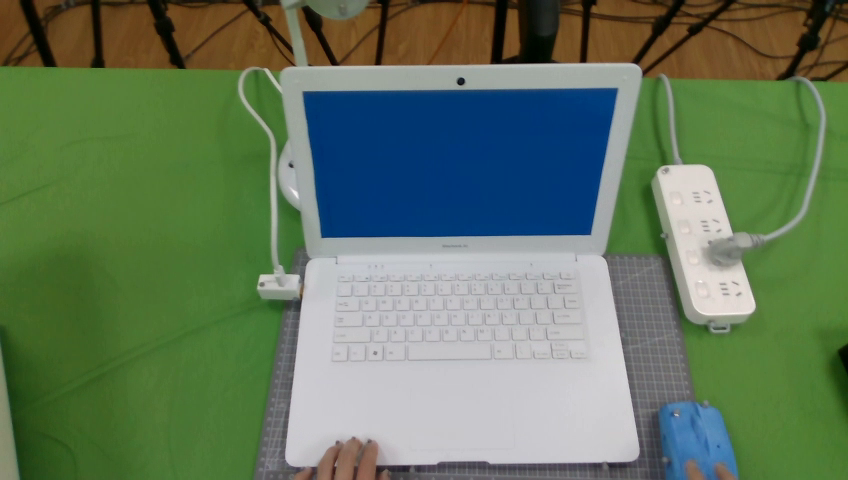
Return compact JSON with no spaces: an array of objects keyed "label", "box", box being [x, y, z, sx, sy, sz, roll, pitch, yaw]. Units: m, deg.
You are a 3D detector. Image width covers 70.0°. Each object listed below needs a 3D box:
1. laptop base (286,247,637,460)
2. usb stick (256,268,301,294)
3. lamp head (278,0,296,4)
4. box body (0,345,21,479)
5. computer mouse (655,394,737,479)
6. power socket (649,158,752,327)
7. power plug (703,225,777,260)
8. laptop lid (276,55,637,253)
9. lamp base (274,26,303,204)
[{"label":"laptop base","box":[0.037,0.116,0.661,0.354,0.023,0.233,-1,63,0]},{"label":"usb stick","box":[-0.158,0.047,0.686,0.059,0.027,0.021,3,54,0]},{"label":"lamp head","box":[-0.083,-0.255,0.462,0.112,0.111,0.123,-27,106,-14]},{"label":"box body","box":[-0.520,0.211,0.523,0.254,0.161,0.360,-23,62,-13]},{"label":"computer mouse","box":[0.266,0.206,0.593,0.063,0.041,0.116,3,56,5]},{"label":"power socket","box":[0.326,-0.007,0.724,0.072,0.033,0.224,0,59,-2]},{"label":"power plug","box":[0.356,0.008,0.689,0.072,0.053,0.035,9,59,3]},{"label":"laptop lid","box":[0.033,-0.081,0.649,0.357,0.244,0.013,-2,36,0]},{"label":"lamp base","box":[-0.121,-0.149,0.724,0.160,0.182,0.177,-34,62,-18]}]
